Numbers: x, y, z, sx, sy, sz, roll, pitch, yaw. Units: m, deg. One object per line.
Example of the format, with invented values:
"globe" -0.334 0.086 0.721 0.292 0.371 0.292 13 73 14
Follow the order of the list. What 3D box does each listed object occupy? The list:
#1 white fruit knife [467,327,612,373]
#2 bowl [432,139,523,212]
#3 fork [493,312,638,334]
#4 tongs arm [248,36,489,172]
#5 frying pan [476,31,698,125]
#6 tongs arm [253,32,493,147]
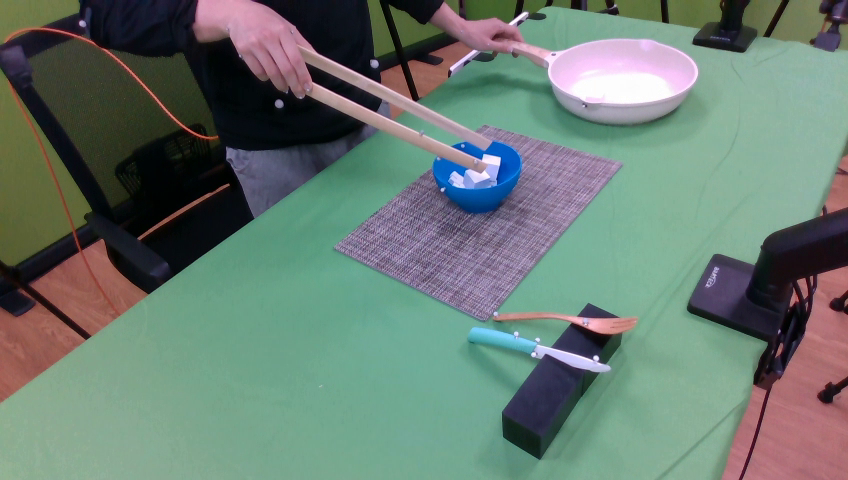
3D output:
"white fruit knife" 0.134 0.134 0.742 0.205 0.027 0.016 7 34 41
"bowl" 0.091 -0.100 1.021 0.151 0.077 0.150 -4 41 4
"fork" 0.173 0.103 0.774 0.206 0.019 0.028 0 41 40
"tongs arm" -0.076 -0.196 0.899 0.387 0.026 0.050 21 55 -15
"frying pan" 0.321 -0.371 1.290 0.484 0.103 0.307 29 51 24
"tongs arm" -0.069 -0.224 0.919 0.389 0.027 0.028 22 58 -15
